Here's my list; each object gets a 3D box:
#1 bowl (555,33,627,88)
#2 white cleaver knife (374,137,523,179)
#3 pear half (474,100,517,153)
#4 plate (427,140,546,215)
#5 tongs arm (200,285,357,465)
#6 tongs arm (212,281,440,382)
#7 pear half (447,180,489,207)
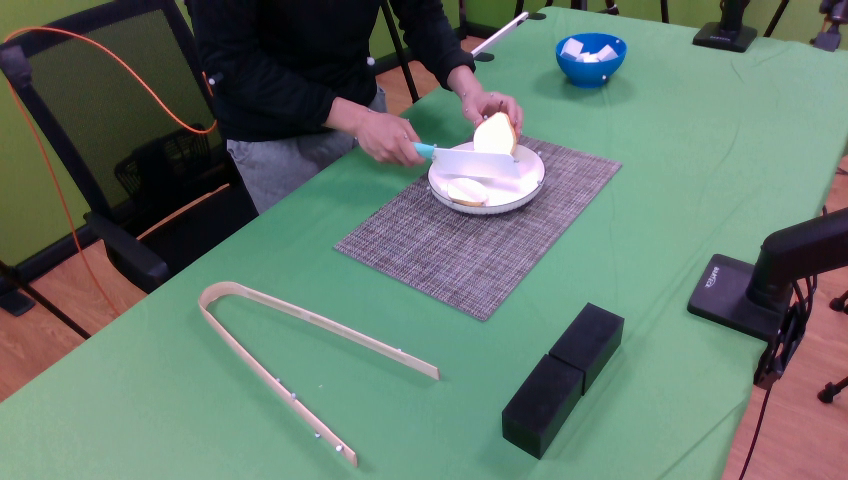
[{"bbox_3d":[0.360,-0.384,1.317,0.151,0.077,0.150,-4,41,4],"label":"bowl"},{"bbox_3d":[0.033,-0.137,1.032,0.284,0.066,0.021,13,52,31],"label":"white cleaver knife"},{"bbox_3d":[0.130,-0.192,1.064,0.076,0.110,0.056,15,18,9],"label":"pear half"},{"bbox_3d":[0.109,-0.106,1.058,0.207,0.039,0.206,-4,41,4],"label":"plate"},{"bbox_3d":[-0.199,0.162,0.797,0.381,0.026,0.051,28,49,35],"label":"tongs arm"},{"bbox_3d":[-0.147,0.122,0.846,0.385,0.028,0.028,17,47,25],"label":"tongs arm"},{"bbox_3d":[0.069,-0.072,1.016,0.070,0.031,0.088,29,35,33],"label":"pear half"}]
